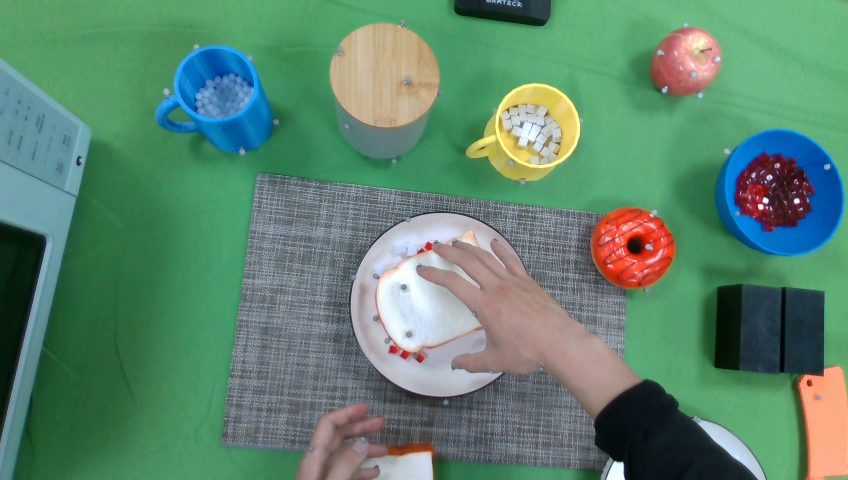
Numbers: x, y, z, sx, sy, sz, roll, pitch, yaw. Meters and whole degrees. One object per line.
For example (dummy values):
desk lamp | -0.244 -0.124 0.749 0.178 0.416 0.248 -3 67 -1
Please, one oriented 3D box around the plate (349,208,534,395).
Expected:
plate | 0.019 0.068 0.687 0.208 0.039 0.207 1 83 -7

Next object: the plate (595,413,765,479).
plate | 0.289 0.302 0.693 0.209 0.038 0.208 1 82 -6

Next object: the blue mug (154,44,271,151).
blue mug | -0.229 -0.145 0.653 0.116 0.106 0.082 -19 85 -8

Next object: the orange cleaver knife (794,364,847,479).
orange cleaver knife | 0.481 0.255 0.732 0.077 0.012 0.210 8 81 -12

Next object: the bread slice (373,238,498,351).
bread slice | 0.010 0.068 0.687 0.131 0.019 0.104 -21 85 -10

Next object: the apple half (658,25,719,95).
apple half | 0.327 -0.224 0.746 0.053 0.075 0.080 -27 82 -15

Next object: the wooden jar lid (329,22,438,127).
wooden jar lid | -0.041 -0.163 0.605 0.108 0.021 0.108 1 81 -6

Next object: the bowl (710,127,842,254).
bowl | 0.406 -0.053 0.731 0.151 0.077 0.151 1 83 -6

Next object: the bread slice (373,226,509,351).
bread slice | 0.013 0.061 0.661 0.134 0.018 0.106 -26 83 -10

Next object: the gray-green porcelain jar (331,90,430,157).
gray-green porcelain jar | -0.048 -0.154 0.666 0.106 0.126 0.105 1 82 -6

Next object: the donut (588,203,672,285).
donut | 0.243 0.005 0.718 0.099 0.048 0.099 1 84 -7

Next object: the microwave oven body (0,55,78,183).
microwave oven body | -0.543 0.039 0.510 0.327 0.260 0.440 9 82 -6

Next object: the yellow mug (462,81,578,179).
yellow mug | 0.108 -0.123 0.711 0.131 0.064 0.099 -18 85 -8

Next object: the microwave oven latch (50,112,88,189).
microwave oven latch | -0.382 -0.097 0.644 0.030 0.029 0.079 12 82 -5

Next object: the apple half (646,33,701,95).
apple half | 0.293 -0.206 0.738 0.033 0.081 0.081 -27 86 -14

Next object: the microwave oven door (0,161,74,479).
microwave oven door | -0.406 0.104 0.513 0.039 0.244 0.354 9 81 -5
